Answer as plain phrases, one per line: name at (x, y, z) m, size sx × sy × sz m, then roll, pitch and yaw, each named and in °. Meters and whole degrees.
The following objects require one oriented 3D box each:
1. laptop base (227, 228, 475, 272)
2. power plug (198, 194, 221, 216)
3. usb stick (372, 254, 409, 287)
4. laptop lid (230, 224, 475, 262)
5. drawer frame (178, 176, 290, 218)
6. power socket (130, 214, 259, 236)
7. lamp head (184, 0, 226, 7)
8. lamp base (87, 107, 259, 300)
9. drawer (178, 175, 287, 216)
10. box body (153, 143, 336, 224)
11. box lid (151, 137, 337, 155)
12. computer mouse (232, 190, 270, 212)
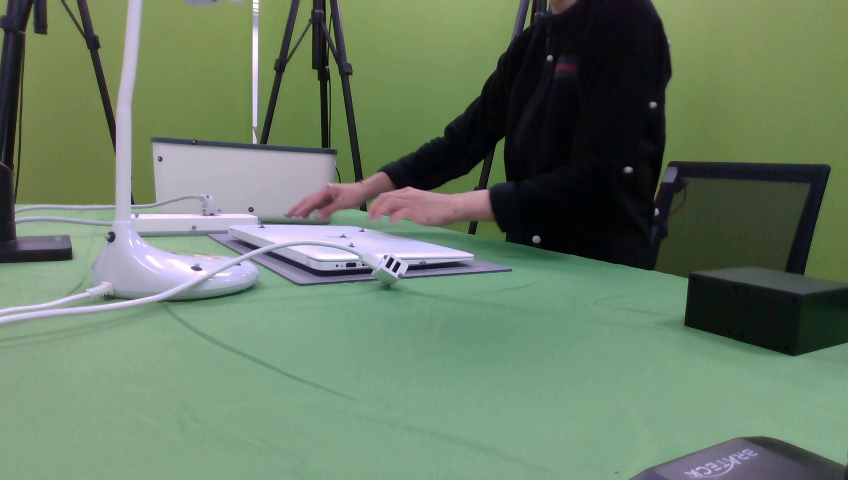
laptop base at (-0.122, 0.012, 0.889) m, size 0.237 × 0.023 × 0.352 m, roll 1°, pitch 7°, yaw -35°
power plug at (-0.386, -0.055, 1.088) m, size 0.035 × 0.052 × 0.072 m, roll -1°, pitch 7°, yaw -24°
usb stick at (-0.039, 0.035, 0.663) m, size 0.027 × 0.021 × 0.059 m, roll 29°, pitch -22°, yaw -7°
laptop lid at (-0.119, 0.000, 0.888) m, size 0.243 × 0.013 × 0.355 m, roll 1°, pitch 7°, yaw -33°
drawer frame at (-0.409, -0.099, 1.340) m, size 0.214 × 0.082 × 0.201 m, roll -4°, pitch 7°, yaw -10°
power socket at (-0.397, -0.028, 1.048) m, size 0.228 × 0.032 × 0.072 m, roll -3°, pitch 7°, yaw -35°
lamp head at (-0.229, -0.320, 0.627) m, size 0.112 × 0.112 × 0.123 m, roll 6°, pitch -36°, yaw 26°
lamp base at (-0.254, -0.039, 0.603) m, size 0.160 × 0.180 × 0.179 m, roll 5°, pitch 10°, yaw 18°
drawer at (-0.414, -0.104, 1.341) m, size 0.212 × 0.073 × 0.194 m, roll 5°, pitch 6°, yaw -11°
box body at (-0.380, -0.130, 1.344) m, size 0.365 × 0.160 × 0.253 m, roll 1°, pitch 7°, yaw -9°
box lid at (-0.379, -0.203, 1.334) m, size 0.372 × 0.015 × 0.262 m, roll 2°, pitch 7°, yaw -9°
computer mouse at (-0.382, -0.086, 1.342) m, size 0.063 × 0.041 × 0.117 m, roll 10°, pitch 10°, yaw -4°
